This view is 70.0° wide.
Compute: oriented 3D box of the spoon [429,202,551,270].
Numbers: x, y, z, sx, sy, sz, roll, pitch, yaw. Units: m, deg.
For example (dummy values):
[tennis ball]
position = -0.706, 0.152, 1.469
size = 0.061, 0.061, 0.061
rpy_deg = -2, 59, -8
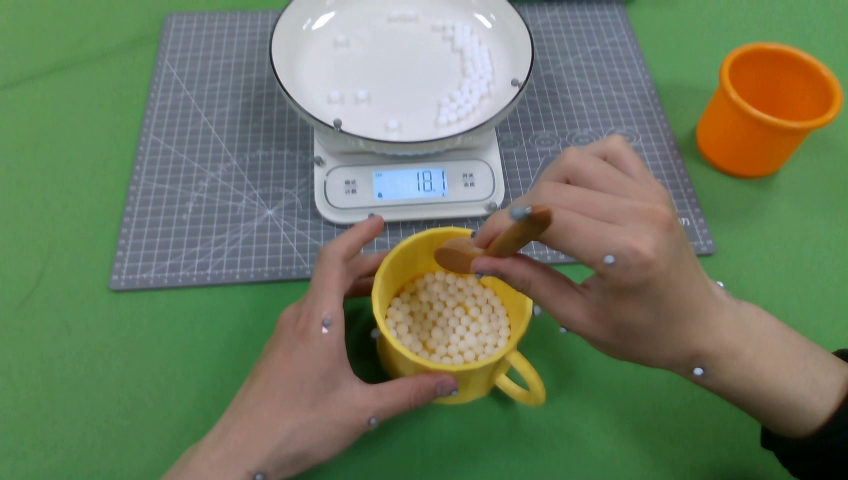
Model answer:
[spoon]
position = 0.033, 0.003, 0.323
size = 0.042, 0.193, 0.021
rpy_deg = 15, 84, -6

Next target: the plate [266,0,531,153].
[plate]
position = -0.020, -0.149, 0.491
size = 0.209, 0.038, 0.207
rpy_deg = 2, 60, -2

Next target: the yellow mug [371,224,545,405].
[yellow mug]
position = 0.028, 0.058, 0.394
size = 0.130, 0.064, 0.100
rpy_deg = 42, 68, 19

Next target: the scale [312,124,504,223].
[scale]
position = -0.018, -0.107, 0.504
size = 0.149, 0.032, 0.199
rpy_deg = -4, 60, -4
